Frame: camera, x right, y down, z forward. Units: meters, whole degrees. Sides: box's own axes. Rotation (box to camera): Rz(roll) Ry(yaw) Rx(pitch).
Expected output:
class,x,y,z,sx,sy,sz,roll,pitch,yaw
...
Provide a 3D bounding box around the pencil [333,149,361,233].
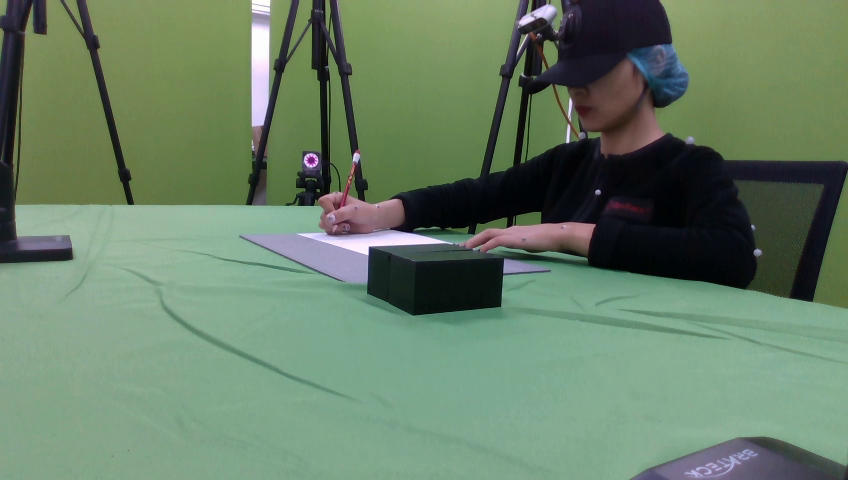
class,x,y,z,sx,sy,sz,roll,pitch,yaw
pencil,-0.139,-0.090,1.090,0.012,0.194,0.012,8,-34,5
